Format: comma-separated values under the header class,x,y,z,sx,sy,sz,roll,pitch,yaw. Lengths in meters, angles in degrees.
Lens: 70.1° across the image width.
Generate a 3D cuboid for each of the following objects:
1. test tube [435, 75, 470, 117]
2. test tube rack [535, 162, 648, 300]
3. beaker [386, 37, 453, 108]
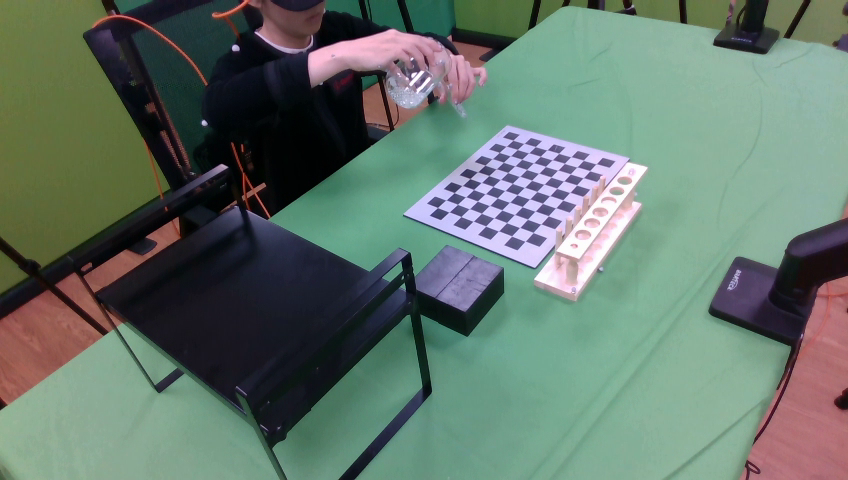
class,x,y,z,sx,sy,sz,roll,pitch,yaw
test tube,0.054,-0.259,1.101,0.017,0.151,0.017,-6,75,22
test tube rack,0.257,-0.024,0.916,0.066,0.085,0.243,22,49,30
beaker,-0.009,-0.268,0.985,0.073,0.084,0.100,20,58,30
